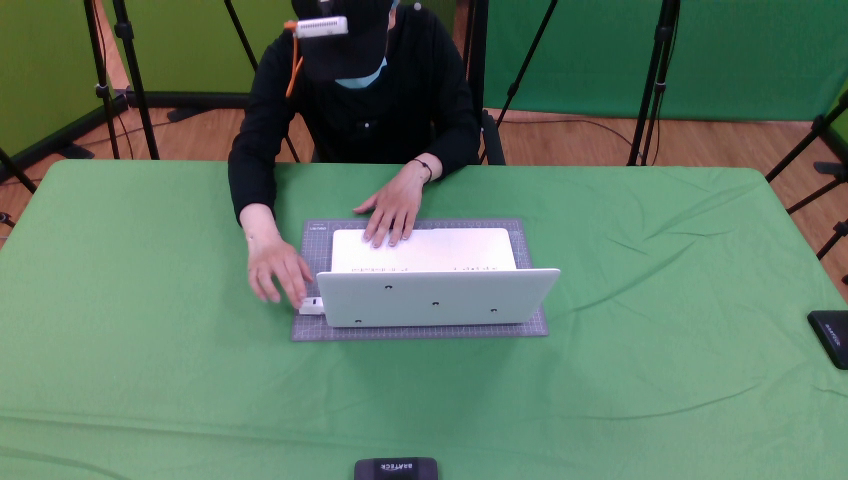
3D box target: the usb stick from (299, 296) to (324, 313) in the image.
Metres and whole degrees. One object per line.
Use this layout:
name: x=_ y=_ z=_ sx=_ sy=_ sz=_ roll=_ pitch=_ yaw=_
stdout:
usb stick: x=-0.187 y=0.113 z=1.057 sx=0.059 sy=0.027 sz=0.021 roll=3 pitch=47 yaw=-6

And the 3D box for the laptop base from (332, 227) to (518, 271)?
laptop base: x=0.004 y=0.062 z=1.136 sx=0.355 sy=0.023 sz=0.234 roll=-1 pitch=43 yaw=-4

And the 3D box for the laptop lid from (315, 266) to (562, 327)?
laptop lid: x=0.017 y=0.094 z=0.949 sx=0.357 sy=0.242 sz=0.013 roll=0 pitch=64 yaw=-6
